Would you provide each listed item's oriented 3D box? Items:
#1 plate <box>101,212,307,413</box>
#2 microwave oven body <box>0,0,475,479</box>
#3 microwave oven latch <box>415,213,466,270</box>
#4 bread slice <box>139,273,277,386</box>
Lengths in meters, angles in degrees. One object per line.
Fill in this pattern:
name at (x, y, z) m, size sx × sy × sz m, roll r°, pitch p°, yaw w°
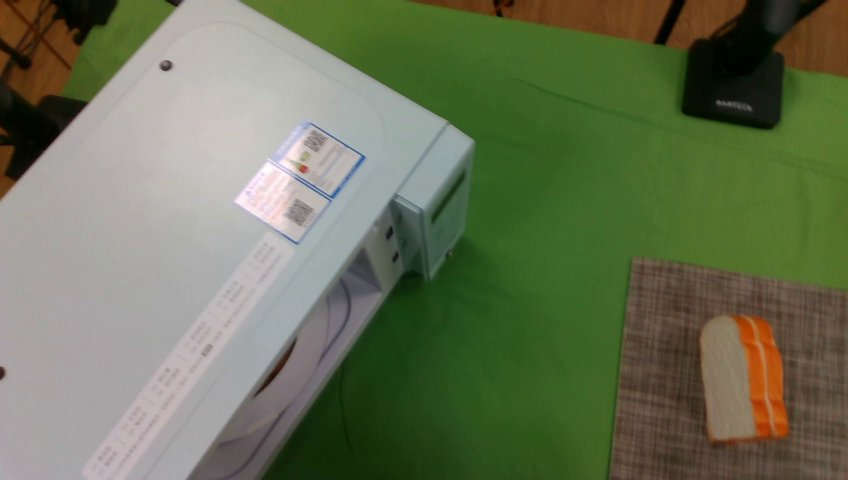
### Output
plate at (-0.225, 0.075, 0.636) m, size 0.208 × 0.039 × 0.206 m, roll 0°, pitch 74°, yaw -1°
microwave oven body at (-0.206, 0.032, 0.596) m, size 0.325 × 0.261 × 0.440 m, roll 32°, pitch 77°, yaw 10°
microwave oven latch at (0.019, -0.005, 0.703) m, size 0.030 × 0.029 × 0.079 m, roll 33°, pitch 78°, yaw 10°
bread slice at (-0.226, 0.100, 0.634) m, size 0.134 × 0.018 × 0.106 m, roll -12°, pitch 72°, yaw -10°
